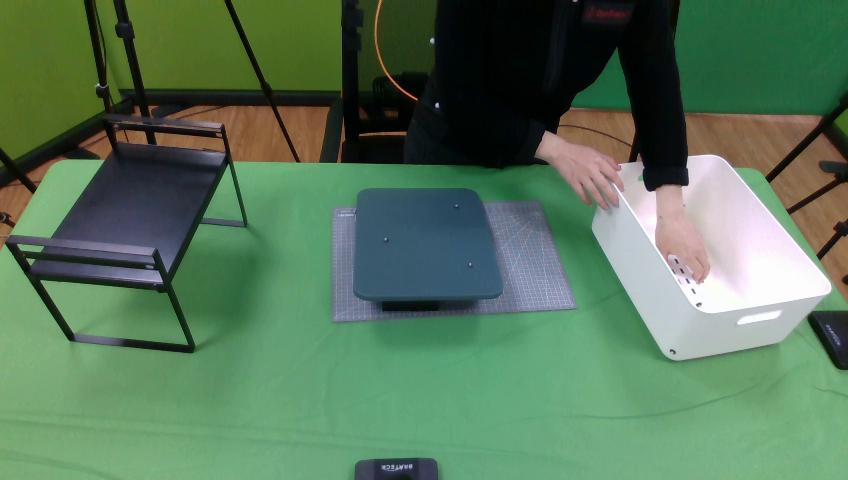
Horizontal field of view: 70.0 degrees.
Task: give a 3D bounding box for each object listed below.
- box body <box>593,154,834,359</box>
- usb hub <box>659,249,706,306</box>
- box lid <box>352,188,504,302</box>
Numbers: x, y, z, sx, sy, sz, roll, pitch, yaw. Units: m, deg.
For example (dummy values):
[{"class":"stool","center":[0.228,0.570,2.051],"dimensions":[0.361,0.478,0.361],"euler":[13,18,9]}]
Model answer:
[{"class":"box body","center":[0.497,0.023,1.111],"dimensions":[0.254,0.161,0.361],"euler":[-7,47,-10]},{"class":"usb hub","center":[0.484,0.070,1.149],"dimensions":[0.049,0.025,0.124],"euler":[-3,47,-4]},{"class":"box lid","center":[-0.002,-0.006,1.162],"dimensions":[0.263,0.015,0.369],"euler":[0,34,-5]}]
